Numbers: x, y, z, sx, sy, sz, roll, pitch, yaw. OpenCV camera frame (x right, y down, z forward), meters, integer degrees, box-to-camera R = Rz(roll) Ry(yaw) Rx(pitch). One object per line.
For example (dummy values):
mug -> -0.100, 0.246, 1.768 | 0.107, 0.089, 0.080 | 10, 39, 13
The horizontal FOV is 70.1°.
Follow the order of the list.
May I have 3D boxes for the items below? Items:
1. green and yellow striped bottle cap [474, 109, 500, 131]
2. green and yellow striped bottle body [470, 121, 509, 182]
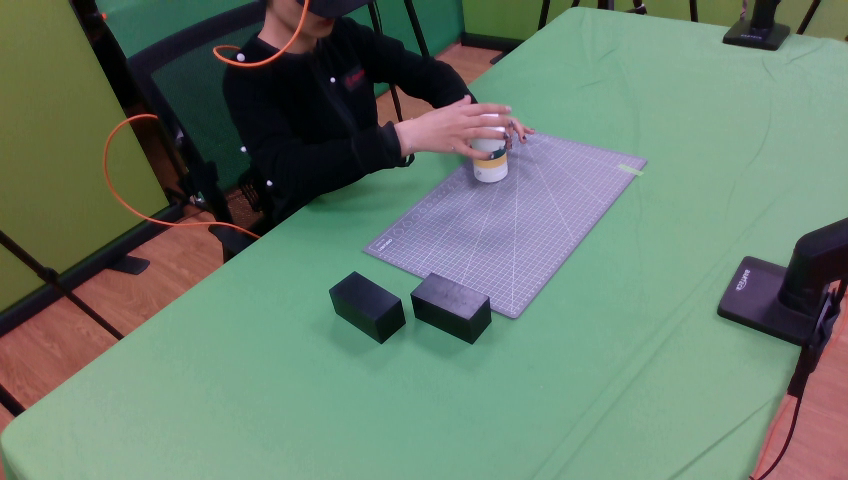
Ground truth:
green and yellow striped bottle cap -> 0.108, -0.208, 1.045 | 0.045, 0.020, 0.045 | -8, 37, 7
green and yellow striped bottle body -> 0.116, -0.168, 1.078 | 0.063, 0.120, 0.063 | -6, 39, 5
